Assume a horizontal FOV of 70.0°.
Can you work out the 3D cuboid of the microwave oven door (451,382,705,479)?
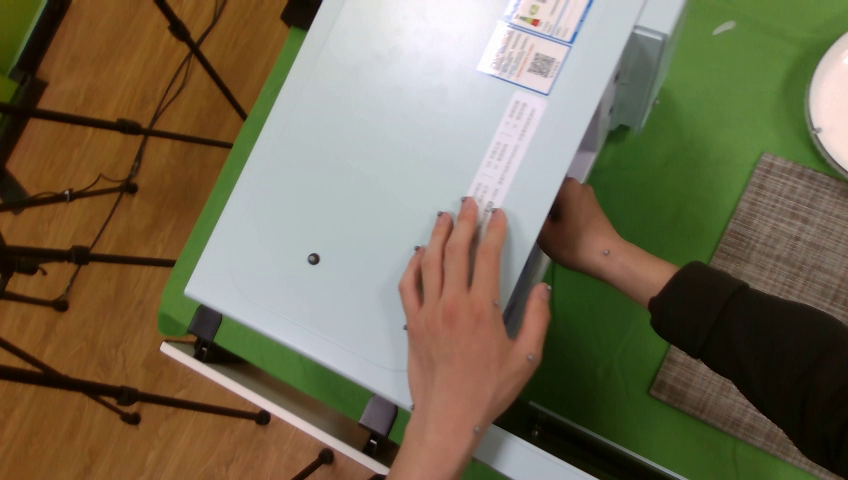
[{"bbox_3d":[0.209,0.228,0.535,0.354,0.245,0.039,23,87,16],"label":"microwave oven door"}]

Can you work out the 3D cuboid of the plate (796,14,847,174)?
[{"bbox_3d":[0.508,-0.153,0.646,0.207,0.039,0.207,-2,81,13],"label":"plate"}]

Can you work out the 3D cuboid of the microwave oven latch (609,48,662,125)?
[{"bbox_3d":[0.242,-0.175,0.694,0.030,0.029,0.079,30,90,15],"label":"microwave oven latch"}]

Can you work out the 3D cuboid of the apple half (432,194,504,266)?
[{"bbox_3d":[0.045,-0.008,0.637,0.081,0.033,0.081,2,97,17],"label":"apple half"}]

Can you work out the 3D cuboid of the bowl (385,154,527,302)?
[{"bbox_3d":[0.041,-0.011,0.647,0.151,0.077,0.151,-1,89,17],"label":"bowl"}]

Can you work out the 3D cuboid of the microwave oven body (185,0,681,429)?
[{"bbox_3d":[0.018,-0.083,0.633,0.324,0.261,0.441,23,88,15],"label":"microwave oven body"}]
